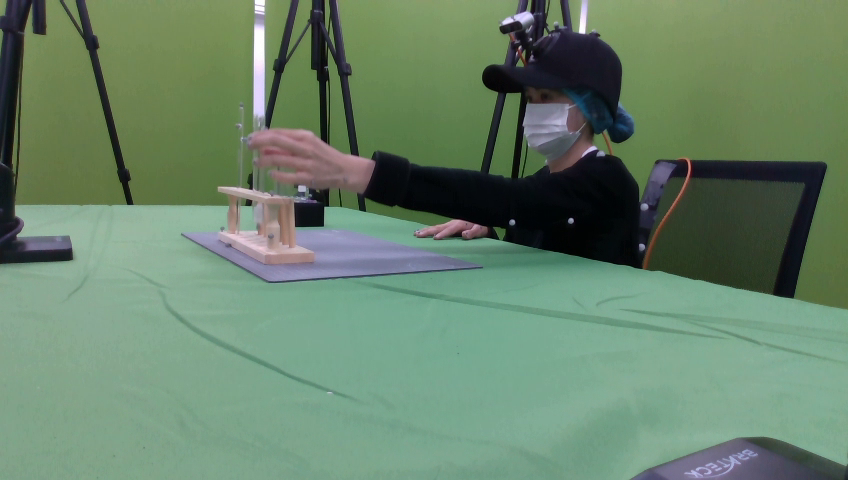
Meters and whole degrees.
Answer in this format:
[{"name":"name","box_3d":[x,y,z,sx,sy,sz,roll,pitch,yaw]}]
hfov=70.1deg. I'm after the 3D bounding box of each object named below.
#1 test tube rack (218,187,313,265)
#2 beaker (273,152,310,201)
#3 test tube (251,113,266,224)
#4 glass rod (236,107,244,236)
[{"name":"test tube rack","box_3d":[-0.235,-0.027,0.872,0.067,0.085,0.241,-2,8,-32]},{"name":"beaker","box_3d":[-0.277,-0.131,1.249,0.073,0.100,0.084,6,9,26]},{"name":"test tube","box_3d":[-0.226,-0.097,0.824,0.017,0.150,0.017,2,3,0]},{"name":"glass rod","box_3d":[-0.282,-0.103,0.925,0.008,0.199,0.008,2,2,0]}]
